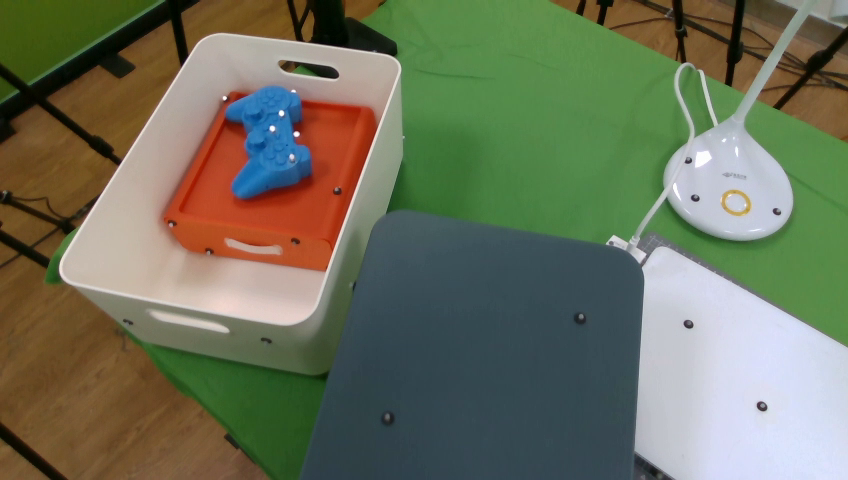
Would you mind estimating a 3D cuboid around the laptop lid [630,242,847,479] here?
[{"bbox_3d":[0.340,0.167,0.620,0.354,0.013,0.241,35,67,21],"label":"laptop lid"}]

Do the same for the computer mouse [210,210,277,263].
[{"bbox_3d":[-0.218,-0.012,0.737,0.063,0.041,0.116,-16,19,2],"label":"computer mouse"}]

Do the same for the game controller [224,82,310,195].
[{"bbox_3d":[-0.192,-0.131,0.733,0.097,0.052,0.153,-10,58,-9],"label":"game controller"}]

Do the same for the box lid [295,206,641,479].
[{"bbox_3d":[0.042,0.145,0.511,0.263,0.015,0.369,11,65,5],"label":"box lid"}]

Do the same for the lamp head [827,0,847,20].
[{"bbox_3d":[0.380,-0.226,0.455,0.112,0.112,0.123,7,102,6],"label":"lamp head"}]

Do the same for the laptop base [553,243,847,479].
[{"bbox_3d":[0.342,0.172,0.631,0.352,0.023,0.235,33,68,20],"label":"laptop base"}]

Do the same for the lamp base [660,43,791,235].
[{"bbox_3d":[0.384,-0.126,0.722,0.160,0.182,0.177,0,55,2],"label":"lamp base"}]

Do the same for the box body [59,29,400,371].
[{"bbox_3d":[-0.185,-0.052,0.702,0.254,0.162,0.361,10,58,7],"label":"box body"}]

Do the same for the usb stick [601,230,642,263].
[{"bbox_3d":[0.238,0.016,0.717,0.059,0.027,0.021,38,61,19],"label":"usb stick"}]
